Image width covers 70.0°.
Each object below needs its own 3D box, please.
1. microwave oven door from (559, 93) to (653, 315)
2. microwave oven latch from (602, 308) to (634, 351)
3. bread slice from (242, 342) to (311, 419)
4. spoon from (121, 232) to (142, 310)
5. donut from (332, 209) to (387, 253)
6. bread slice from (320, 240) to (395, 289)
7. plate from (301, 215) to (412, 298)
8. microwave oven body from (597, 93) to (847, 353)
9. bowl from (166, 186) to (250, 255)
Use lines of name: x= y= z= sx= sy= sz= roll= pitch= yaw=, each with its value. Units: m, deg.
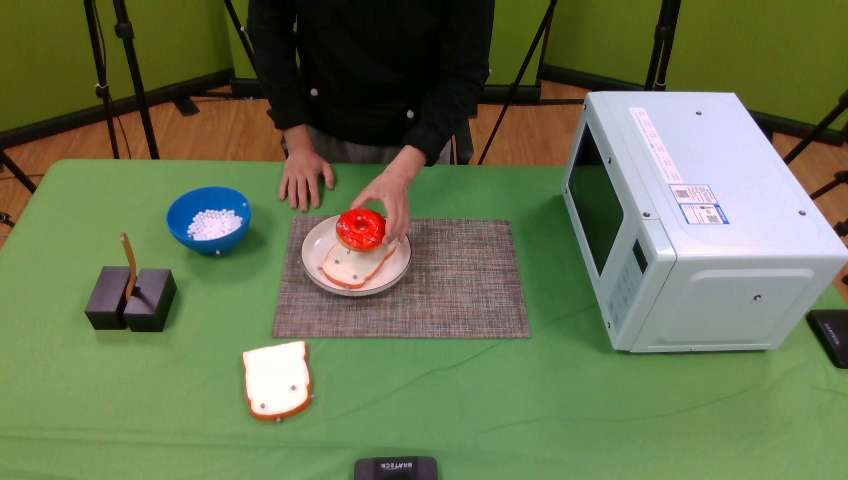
microwave oven door: x=0.327 y=-0.074 z=1.123 sx=0.039 sy=0.245 sz=0.353 roll=-1 pitch=46 yaw=-5
microwave oven latch: x=0.332 y=0.153 z=1.044 sx=0.030 sy=0.029 sz=0.078 roll=-1 pitch=45 yaw=-4
bread slice: x=-0.234 y=0.223 z=0.970 sx=0.105 sy=0.019 sz=0.130 roll=-10 pitch=46 yaw=-12
spoon: x=-0.479 y=0.051 z=0.994 sx=0.022 sy=0.194 sz=0.041 roll=13 pitch=46 yaw=-12
donut: x=-0.116 y=-0.016 z=1.096 sx=0.099 sy=0.048 sz=0.098 roll=5 pitch=45 yaw=-5
bread slice: x=-0.129 y=0.036 z=1.140 sx=0.107 sy=0.018 sz=0.134 roll=19 pitch=48 yaw=15
plate: x=-0.127 y=0.031 z=1.145 sx=0.208 sy=0.039 sz=0.206 roll=2 pitch=46 yaw=-2
microwave oven body: x=0.475 y=-0.041 z=1.109 sx=0.326 sy=0.261 sz=0.438 roll=-1 pitch=45 yaw=-4
bowl: x=-0.403 y=-0.024 z=1.154 sx=0.151 sy=0.077 sz=0.150 roll=2 pitch=46 yaw=-2
